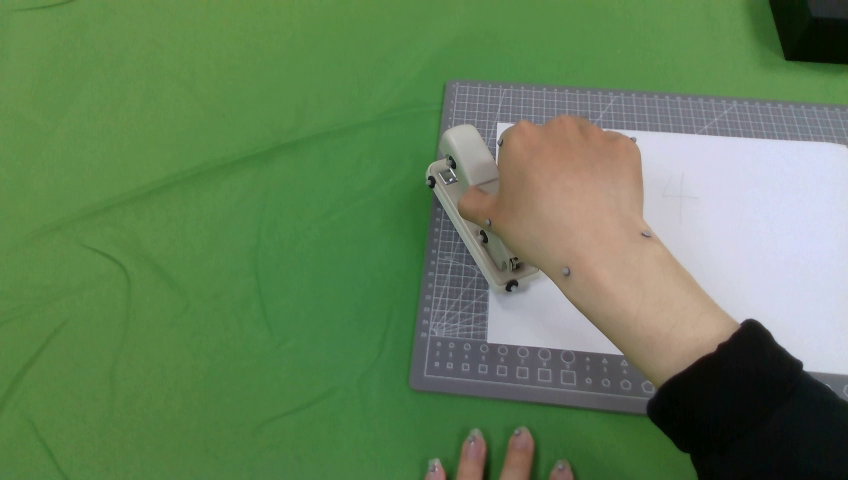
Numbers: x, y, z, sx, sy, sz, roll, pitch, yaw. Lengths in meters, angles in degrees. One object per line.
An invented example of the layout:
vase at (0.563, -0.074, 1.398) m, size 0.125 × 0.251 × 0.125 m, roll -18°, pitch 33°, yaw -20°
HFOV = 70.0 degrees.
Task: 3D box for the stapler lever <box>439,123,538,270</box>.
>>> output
stapler lever at (0.045, -0.036, 0.438) m, size 0.027 × 0.040 × 0.117 m, roll -21°, pitch 61°, yaw -14°

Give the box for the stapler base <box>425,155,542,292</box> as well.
stapler base at (0.043, -0.023, 0.460) m, size 0.041 × 0.024 × 0.129 m, roll -21°, pitch 61°, yaw -14°
